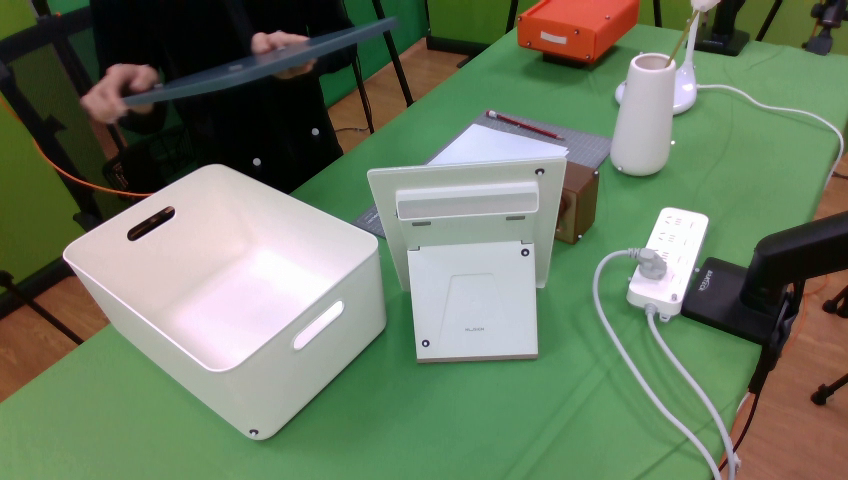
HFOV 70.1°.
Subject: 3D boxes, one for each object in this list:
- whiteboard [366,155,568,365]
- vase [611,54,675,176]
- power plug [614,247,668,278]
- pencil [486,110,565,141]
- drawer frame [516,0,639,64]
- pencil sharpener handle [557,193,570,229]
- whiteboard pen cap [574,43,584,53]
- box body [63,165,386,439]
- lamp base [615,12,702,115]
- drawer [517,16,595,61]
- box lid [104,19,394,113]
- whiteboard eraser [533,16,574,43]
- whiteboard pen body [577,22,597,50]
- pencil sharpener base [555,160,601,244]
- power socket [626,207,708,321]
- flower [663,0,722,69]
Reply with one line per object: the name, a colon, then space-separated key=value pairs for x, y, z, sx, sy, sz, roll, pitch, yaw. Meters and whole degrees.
whiteboard: x=0.059 y=0.050 z=0.738 sx=0.217 sy=0.307 sz=0.143 roll=-3 pitch=60 yaw=5
vase: x=0.377 y=-0.209 z=1.031 sx=0.098 sy=0.201 sz=0.097 roll=-3 pitch=40 yaw=3
power plug: x=0.306 y=0.031 z=0.851 sx=0.072 sy=0.053 sz=0.035 roll=24 pitch=49 yaw=33
pencil: x=0.204 y=-0.232 z=1.226 sx=0.192 sy=0.012 sz=0.012 roll=29 pitch=52 yaw=33
drawer frame: x=0.356 y=-0.507 z=1.410 sx=0.200 sy=0.083 sz=0.214 roll=25 pitch=51 yaw=32
pencil sharpener handle: x=0.195 y=-0.038 z=0.908 sx=0.035 sy=0.068 sz=0.031 roll=25 pitch=50 yaw=30
whiteboard pen cap: x=0.346 y=-0.430 z=1.350 sx=0.018 sy=0.018 sz=0.033 roll=15 pitch=37 yaw=24
box body: x=-0.257 y=0.068 z=0.824 sx=0.361 sy=0.161 sz=0.255 roll=24 pitch=49 yaw=31
lamp base: x=0.484 y=-0.364 z=1.211 sx=0.180 sy=0.181 sz=0.159 roll=-15 pitch=41 yaw=-14
drawer: x=0.353 y=-0.505 z=1.404 sx=0.193 sy=0.073 sz=0.212 roll=25 pitch=50 yaw=33
box lid: x=-0.238 y=-0.223 z=0.791 sx=0.368 sy=0.015 sz=0.264 roll=6 pitch=32 yaw=44
whiteboard eraser: x=0.305 y=-0.493 z=1.423 sx=0.055 sy=0.042 sz=0.113 roll=26 pitch=43 yaw=25
whiteboard pen body: x=0.372 y=-0.468 z=1.390 sx=0.017 sy=0.017 sz=0.141 roll=14 pitch=47 yaw=23
pencil sharpener base: x=0.228 y=-0.057 z=0.945 sx=0.061 sy=0.107 sz=0.077 roll=24 pitch=50 yaw=31
power socket: x=0.359 y=0.025 z=0.886 sx=0.072 sy=0.033 sz=0.227 roll=16 pitch=46 yaw=26
flower: x=0.379 y=-0.261 z=0.965 sx=0.044 sy=0.362 sz=0.038 roll=20 pitch=53 yaw=5
